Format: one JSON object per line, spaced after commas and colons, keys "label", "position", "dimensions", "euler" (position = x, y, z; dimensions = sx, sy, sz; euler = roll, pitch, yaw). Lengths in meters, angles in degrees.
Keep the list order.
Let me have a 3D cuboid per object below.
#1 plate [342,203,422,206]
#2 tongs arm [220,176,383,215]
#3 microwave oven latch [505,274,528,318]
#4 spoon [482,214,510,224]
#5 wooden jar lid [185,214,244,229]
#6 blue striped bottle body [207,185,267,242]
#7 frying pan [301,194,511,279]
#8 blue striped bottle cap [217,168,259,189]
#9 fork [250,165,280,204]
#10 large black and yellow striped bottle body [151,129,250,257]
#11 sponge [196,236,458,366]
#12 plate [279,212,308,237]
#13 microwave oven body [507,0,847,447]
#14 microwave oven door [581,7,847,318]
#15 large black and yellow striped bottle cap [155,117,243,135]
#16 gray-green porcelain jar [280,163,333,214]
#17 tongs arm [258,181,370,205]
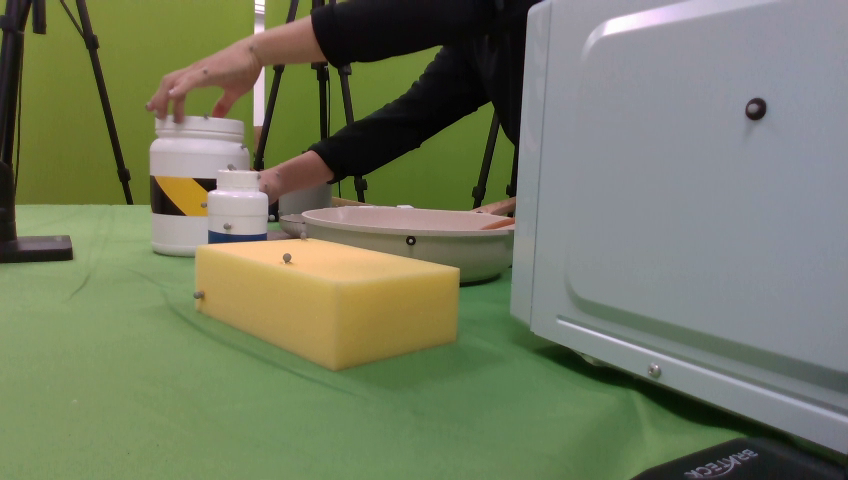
{"label": "plate", "position": [-0.089, -0.053, 1.309], "dimensions": [0.208, 0.039, 0.207], "euler": [2, 8, 0]}
{"label": "tongs arm", "position": [-0.285, -0.104, 1.445], "dimensions": [0.389, 0.027, 0.028], "euler": [9, -4, -23]}
{"label": "microwave oven latch", "position": [0.100, 0.041, 0.472], "dimensions": [0.079, 0.029, 0.030], "euler": [-2, 8, -31]}
{"label": "spoon", "position": [0.076, -0.013, 0.794], "dimensions": [0.193, 0.021, 0.042], "euler": [-24, -2, 11]}
{"label": "wooden jar lid", "position": [-0.404, -0.037, 1.169], "dimensions": [0.108, 0.020, 0.108], "euler": [3, 7, 0]}
{"label": "blue striped bottle body", "position": [-0.204, -0.016, 0.663], "dimensions": [0.063, 0.120, 0.063], "euler": [2, 7, 0]}
{"label": "frying pan", "position": [0.050, -0.028, 0.864], "dimensions": [0.305, 0.102, 0.490], "euler": [8, 18, 35]}
{"label": "blue striped bottle cap", "position": [-0.202, -0.067, 0.656], "dimensions": [0.044, 0.020, 0.044], "euler": [0, 11, 0]}
{"label": "fork", "position": [-0.396, -0.143, 1.486], "dimensions": [0.028, 0.018, 0.208], "euler": [20, -26, 45]}
{"label": "large black and yellow striped bottle body", "position": [-0.313, -0.075, 0.854], "dimensions": [0.131, 0.184, 0.130], "euler": [1, 7, 0]}
{"label": "sponge", "position": [-0.087, 0.039, 0.500], "dimensions": [0.206, 0.061, 0.119], "euler": [8, 9, 44]}
{"label": "plate", "position": [-0.139, -0.022, 1.020], "dimensions": [0.209, 0.038, 0.209], "euler": [2, 8, 0]}
{"label": "microwave oven body", "position": [0.331, -0.042, 0.425], "dimensions": [0.444, 0.260, 0.324], "euler": [-2, 8, -31]}
{"label": "microwave oven door", "position": [0.295, -0.067, 0.569], "dimensions": [0.358, 0.243, 0.039], "euler": [-3, 8, -31]}
{"label": "large black and yellow striped bottle cap", "position": [-0.312, -0.158, 0.844], "dimensions": [0.115, 0.019, 0.115], "euler": [3, 6, 0]}
{"label": "gray-green porcelain jar", "position": [-0.238, -0.091, 1.221], "dimensions": [0.106, 0.126, 0.106], "euler": [2, 7, 0]}
{"label": "tongs arm", "position": [-0.241, -0.095, 1.373], "dimensions": [0.387, 0.026, 0.050], "euler": [9, 0, -37]}
